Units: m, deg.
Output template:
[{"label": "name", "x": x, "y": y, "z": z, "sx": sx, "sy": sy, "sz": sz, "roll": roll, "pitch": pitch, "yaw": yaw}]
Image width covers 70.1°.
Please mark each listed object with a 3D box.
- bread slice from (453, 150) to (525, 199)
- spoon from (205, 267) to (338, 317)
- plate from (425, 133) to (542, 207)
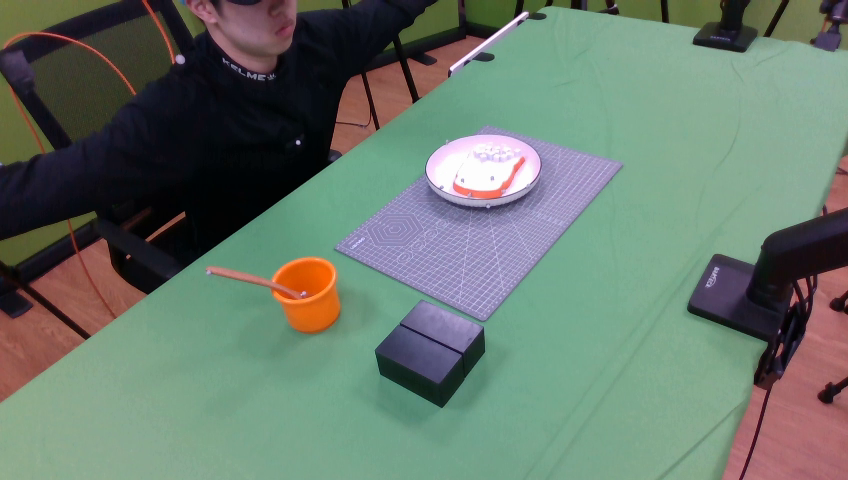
[{"label": "bread slice", "x": 0.112, "y": -0.118, "z": 1.079, "sx": 0.104, "sy": 0.019, "sz": 0.131, "roll": 11, "pitch": 42, "yaw": 21}, {"label": "spoon", "x": -0.202, "y": 0.067, "z": 0.822, "sx": 0.021, "sy": 0.195, "sz": 0.041, "roll": -45, "pitch": 38, "yaw": 25}, {"label": "plate", "x": 0.106, "y": -0.121, "z": 1.079, "sx": 0.209, "sy": 0.038, "sz": 0.208, "roll": -4, "pitch": 41, "yaw": 4}]
